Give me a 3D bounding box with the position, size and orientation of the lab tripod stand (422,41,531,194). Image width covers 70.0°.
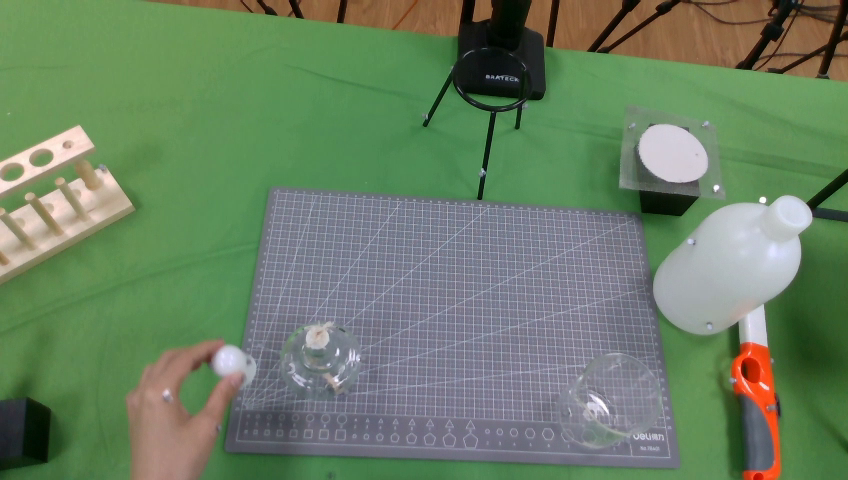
[{"bbox_3d":[0.068,-0.149,0.711,0.148,0.132,0.147,3,64,-6],"label":"lab tripod stand"}]

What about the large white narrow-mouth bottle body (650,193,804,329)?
[{"bbox_3d":[0.315,0.015,0.620,0.102,0.196,0.101,2,62,-4],"label":"large white narrow-mouth bottle body"}]

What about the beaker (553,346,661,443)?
[{"bbox_3d":[0.168,0.153,0.584,0.084,0.101,0.073,1,62,-5],"label":"beaker"}]

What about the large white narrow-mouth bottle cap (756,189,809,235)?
[{"bbox_3d":[0.322,-0.026,0.545,0.038,0.024,0.037,2,63,-4],"label":"large white narrow-mouth bottle cap"}]

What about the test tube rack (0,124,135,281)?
[{"bbox_3d":[-0.434,-0.015,0.612,0.242,0.086,0.066,-34,71,-21],"label":"test tube rack"}]

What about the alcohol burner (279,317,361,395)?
[{"bbox_3d":[-0.098,0.104,0.571,0.078,0.120,0.077,4,61,-7],"label":"alcohol burner"}]

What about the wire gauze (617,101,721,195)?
[{"bbox_3d":[0.295,-0.111,0.732,0.121,0.011,0.124,11,62,-1],"label":"wire gauze"}]

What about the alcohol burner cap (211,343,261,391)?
[{"bbox_3d":[-0.169,0.111,0.537,0.034,0.048,0.033,-5,55,7],"label":"alcohol burner cap"}]

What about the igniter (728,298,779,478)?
[{"bbox_3d":[0.359,0.120,0.666,0.057,0.025,0.274,17,62,-12],"label":"igniter"}]
